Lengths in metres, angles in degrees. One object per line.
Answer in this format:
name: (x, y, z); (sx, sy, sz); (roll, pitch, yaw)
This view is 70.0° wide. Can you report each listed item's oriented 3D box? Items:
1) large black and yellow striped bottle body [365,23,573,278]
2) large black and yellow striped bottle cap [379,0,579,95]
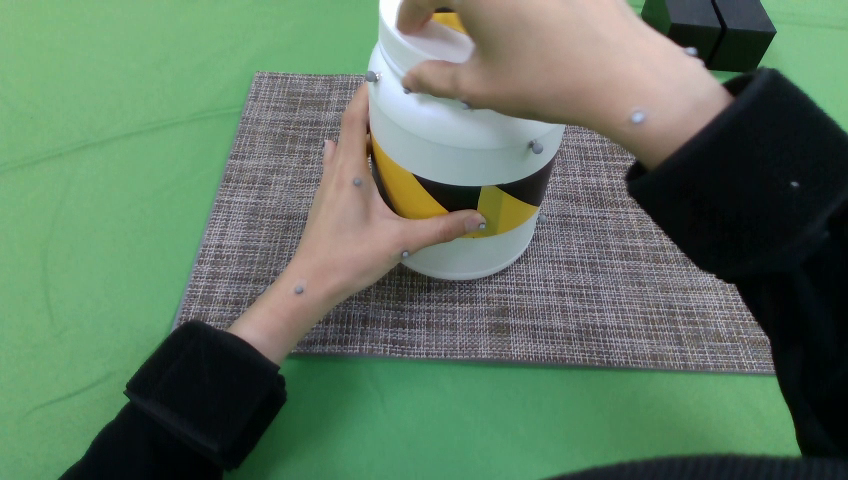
large black and yellow striped bottle body: (0.026, -0.075, 0.414); (0.131, 0.185, 0.129); (2, 52, -2)
large black and yellow striped bottle cap: (0.031, -0.127, 0.348); (0.115, 0.019, 0.114); (2, 54, -2)
